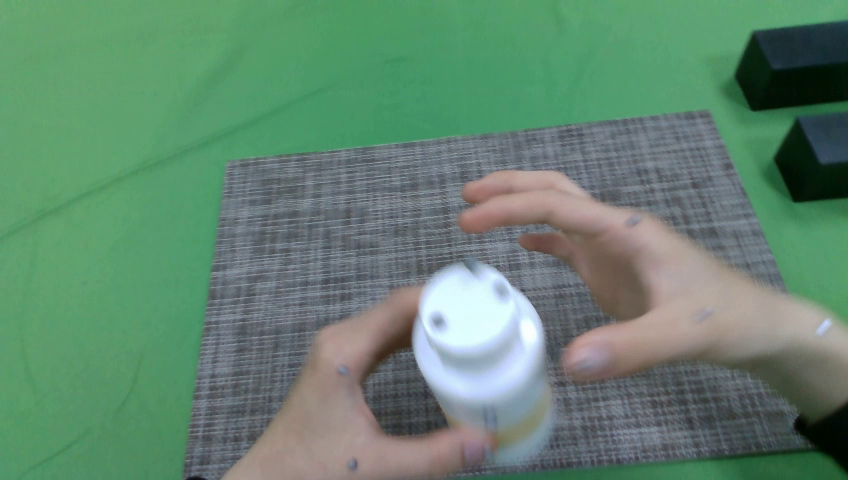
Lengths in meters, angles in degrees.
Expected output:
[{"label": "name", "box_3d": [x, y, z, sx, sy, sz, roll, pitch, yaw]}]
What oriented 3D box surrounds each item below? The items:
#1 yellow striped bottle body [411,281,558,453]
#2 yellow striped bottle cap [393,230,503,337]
[{"label": "yellow striped bottle body", "box_3d": [0.032, 0.063, 0.314, 0.062, 0.121, 0.062, -9, 53, 13]}, {"label": "yellow striped bottle cap", "box_3d": [0.011, 0.018, 0.256, 0.044, 0.019, 0.044, -10, 56, 16]}]
